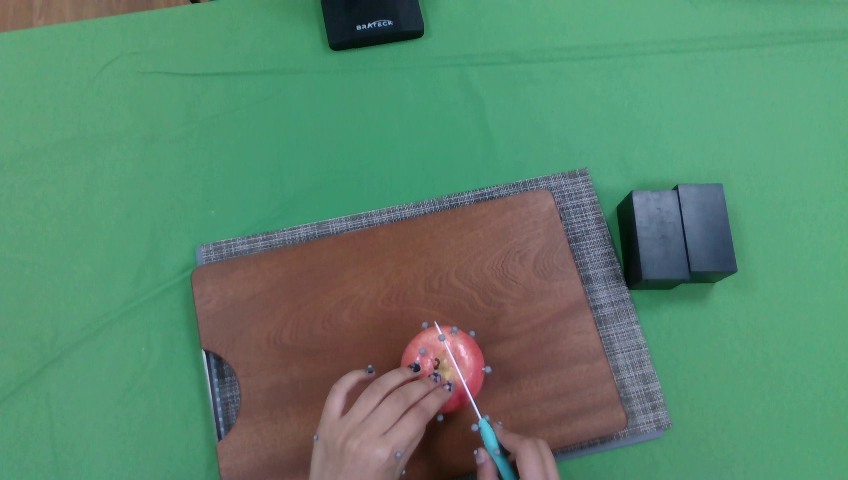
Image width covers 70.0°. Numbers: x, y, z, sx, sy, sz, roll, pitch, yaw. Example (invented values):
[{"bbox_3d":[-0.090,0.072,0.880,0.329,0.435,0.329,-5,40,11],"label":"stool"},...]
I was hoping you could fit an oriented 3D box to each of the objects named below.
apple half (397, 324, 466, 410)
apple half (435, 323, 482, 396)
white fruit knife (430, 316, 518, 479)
[{"bbox_3d":[0.002,0.127,0.581,0.053,0.075,0.080,-26,80,-5],"label":"apple half"},{"bbox_3d":[0.038,0.111,0.585,0.033,0.081,0.081,-25,76,-5],"label":"apple half"},{"bbox_3d":[0.049,0.161,0.534,0.016,0.027,0.207,-26,89,-9],"label":"white fruit knife"}]
